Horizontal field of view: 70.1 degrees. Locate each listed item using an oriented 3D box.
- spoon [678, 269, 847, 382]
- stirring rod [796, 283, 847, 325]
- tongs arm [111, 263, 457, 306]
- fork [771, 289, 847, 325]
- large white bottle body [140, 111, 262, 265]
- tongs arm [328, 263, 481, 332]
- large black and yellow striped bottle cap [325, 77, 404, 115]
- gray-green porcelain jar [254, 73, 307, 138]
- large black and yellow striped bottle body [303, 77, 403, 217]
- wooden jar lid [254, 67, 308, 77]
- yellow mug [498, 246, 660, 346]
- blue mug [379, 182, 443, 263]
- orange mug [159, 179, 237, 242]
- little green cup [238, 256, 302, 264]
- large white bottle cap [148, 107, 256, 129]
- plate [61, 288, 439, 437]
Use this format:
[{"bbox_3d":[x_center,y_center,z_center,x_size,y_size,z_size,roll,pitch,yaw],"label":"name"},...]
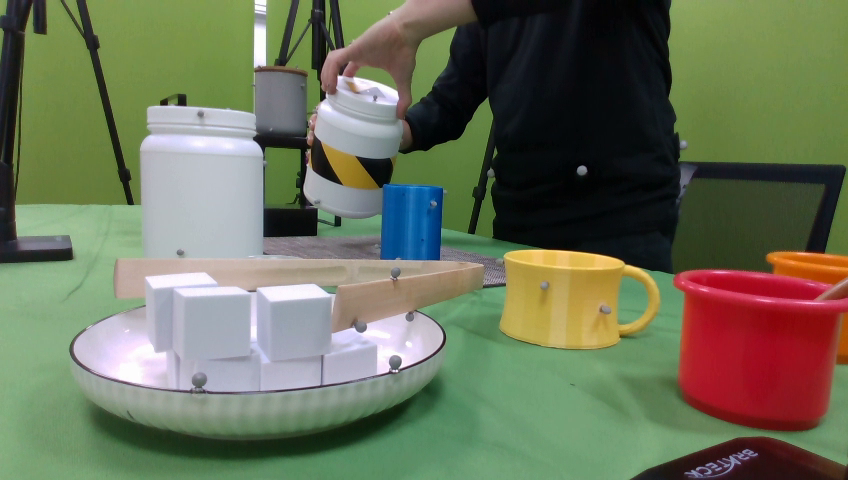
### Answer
[{"bbox_3d":[0.229,0.031,0.338,0.193,0.021,0.042,-44,-16,27],"label":"spoon"},{"bbox_3d":[0.347,0.019,0.460,0.014,0.176,0.006,-17,59,-26],"label":"stirring rod"},{"bbox_3d":[-0.080,0.033,0.527,0.028,0.027,0.389,-4,-4,33],"label":"tongs arm"},{"bbox_3d":[0.336,0.018,0.443,0.028,0.018,0.207,-2,-36,-20],"label":"fork"},{"bbox_3d":[-0.254,-0.054,0.697,0.131,0.184,0.130,2,7,0],"label":"large white bottle body"},{"bbox_3d":[-0.003,0.036,0.492,0.050,0.026,0.386,1,-1,19],"label":"tongs arm"},{"bbox_3d":[-0.086,-0.212,0.886,0.115,0.019,0.115,13,26,-6],"label":"large black and yellow striped bottle cap"},{"bbox_3d":[-0.298,-0.277,1.259,0.106,0.126,0.106,3,7,0],"label":"gray-green porcelain jar"},{"bbox_3d":[-0.107,-0.142,0.926,0.131,0.184,0.130,13,27,-7],"label":"large black and yellow striped bottle body"},{"bbox_3d":[-0.296,-0.339,1.251,0.108,0.020,0.108,2,7,0],"label":"wooden jar lid"},{"bbox_3d":[0.130,0.045,0.508,0.131,0.064,0.100,4,7,6],"label":"yellow mug"},{"bbox_3d":[-0.020,-0.026,0.833,0.082,0.106,0.116,1,7,-7],"label":"blue mug"},{"bbox_3d":[-0.368,-0.052,0.991,0.127,0.101,0.083,-10,14,-41],"label":"orange mug"},{"bbox_3d":[-0.150,0.038,0.590,0.061,0.038,0.061,3,6,0],"label":"little green cup"},{"bbox_3d":[-0.250,-0.137,0.686,0.115,0.018,0.115,3,8,0],"label":"large white bottle cap"},{"bbox_3d":[-0.095,0.069,0.362,0.208,0.039,0.207,3,7,0],"label":"plate"}]
